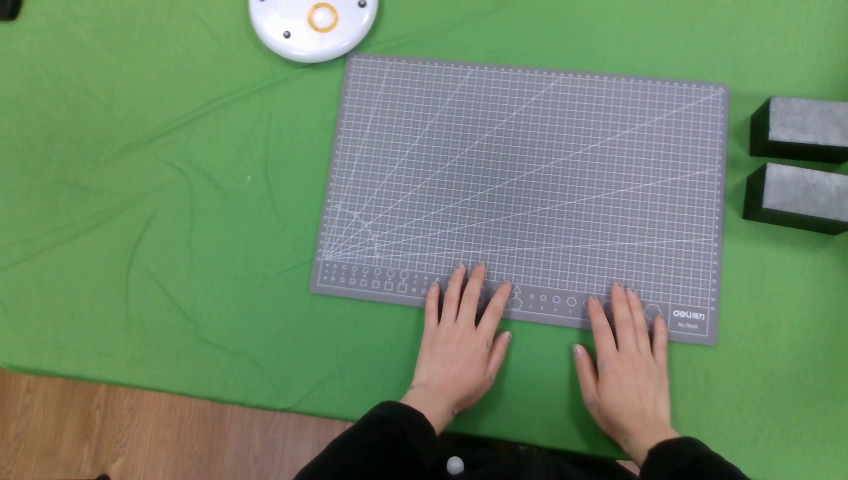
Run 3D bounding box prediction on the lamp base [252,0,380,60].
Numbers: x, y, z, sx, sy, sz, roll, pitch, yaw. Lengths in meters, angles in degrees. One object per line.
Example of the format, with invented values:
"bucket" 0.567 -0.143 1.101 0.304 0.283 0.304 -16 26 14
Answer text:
"lamp base" -0.148 -0.322 0.677 0.160 0.181 0.178 -34 76 -2
